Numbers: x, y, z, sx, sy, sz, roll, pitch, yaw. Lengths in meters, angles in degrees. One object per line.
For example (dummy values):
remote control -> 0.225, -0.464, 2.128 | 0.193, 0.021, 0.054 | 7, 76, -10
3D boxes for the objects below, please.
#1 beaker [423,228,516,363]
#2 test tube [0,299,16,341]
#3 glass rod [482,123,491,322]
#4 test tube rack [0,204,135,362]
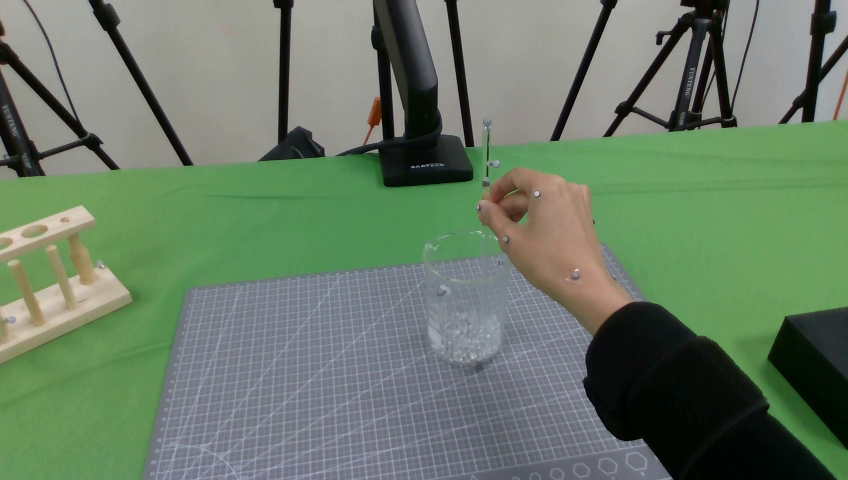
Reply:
beaker -> 0.035, 0.049, 0.525 | 0.083, 0.101, 0.074 | 26, 43, 33
test tube -> -0.372, 0.024, 0.500 | 0.017, 0.151, 0.017 | 1, 34, -1
glass rod -> 0.053, -0.005, 0.505 | 0.008, 0.201, 0.008 | -2, 36, 2
test tube rack -> -0.397, 0.060, 0.528 | 0.242, 0.086, 0.066 | -29, 45, -34
